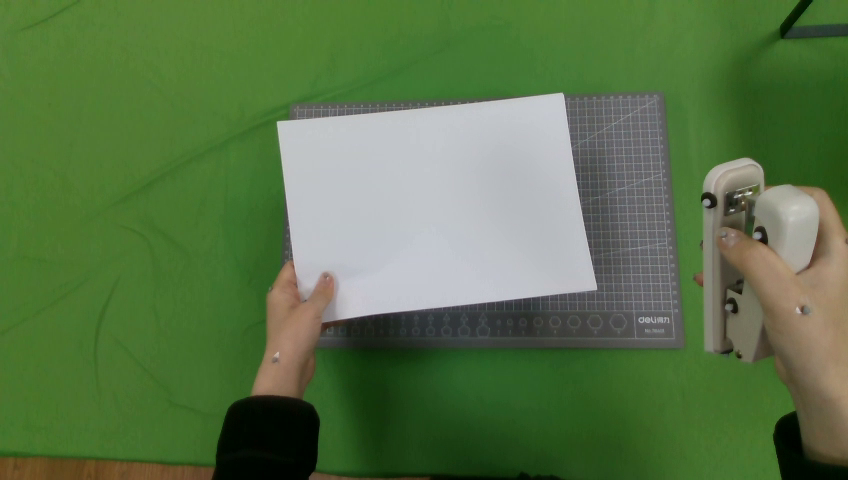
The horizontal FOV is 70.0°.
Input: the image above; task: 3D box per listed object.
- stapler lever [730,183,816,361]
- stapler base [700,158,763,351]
[{"bbox_3d":[0.206,0.024,0.361,0.027,0.040,0.119,-15,112,-10],"label":"stapler lever"},{"bbox_3d":[0.199,0.015,0.382,0.041,0.024,0.131,-15,114,-10],"label":"stapler base"}]
